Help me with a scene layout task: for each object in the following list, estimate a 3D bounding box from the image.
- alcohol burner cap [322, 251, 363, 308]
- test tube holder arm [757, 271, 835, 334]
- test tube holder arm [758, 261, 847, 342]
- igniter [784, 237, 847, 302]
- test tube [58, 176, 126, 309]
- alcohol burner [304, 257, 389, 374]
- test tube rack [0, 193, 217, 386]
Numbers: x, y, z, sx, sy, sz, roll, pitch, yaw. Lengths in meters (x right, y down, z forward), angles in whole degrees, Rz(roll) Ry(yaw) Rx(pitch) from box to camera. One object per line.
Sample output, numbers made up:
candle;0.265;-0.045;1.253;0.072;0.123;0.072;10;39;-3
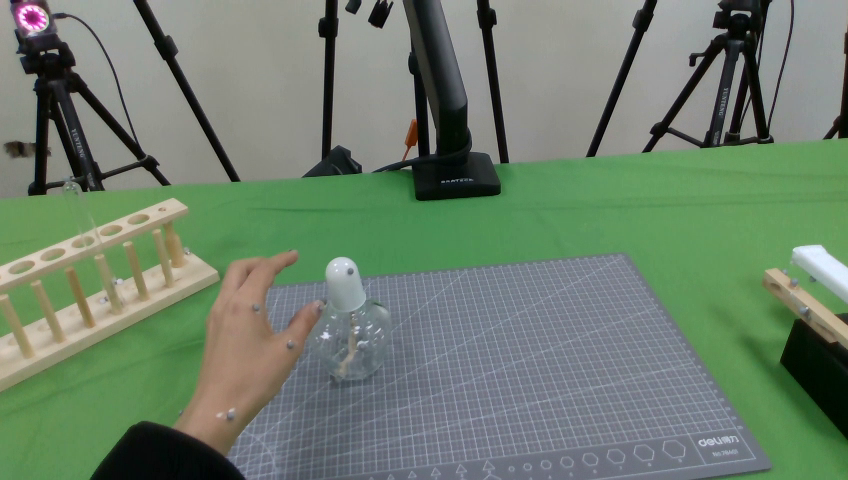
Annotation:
alcohol burner cap;-0.071;0.031;0.520;0.034;0.048;0.033;-3;38;3
test tube holder arm;0.330;0.052;0.536;0.015;0.010;0.087;-15;32;-6
test tube holder arm;0.339;0.069;0.495;0.015;0.013;0.176;-15;32;-6
igniter;0.392;0.073;0.489;0.057;0.025;0.273;-7;31;-5
test tube;-0.320;0.006;0.587;0.017;0.151;0.017;-2;34;1
alcohol burner;-0.070;0.061;0.539;0.078;0.120;0.077;0;35;1
test tube rack;-0.343;0.044;0.614;0.066;0.086;0.242;26;43;36
